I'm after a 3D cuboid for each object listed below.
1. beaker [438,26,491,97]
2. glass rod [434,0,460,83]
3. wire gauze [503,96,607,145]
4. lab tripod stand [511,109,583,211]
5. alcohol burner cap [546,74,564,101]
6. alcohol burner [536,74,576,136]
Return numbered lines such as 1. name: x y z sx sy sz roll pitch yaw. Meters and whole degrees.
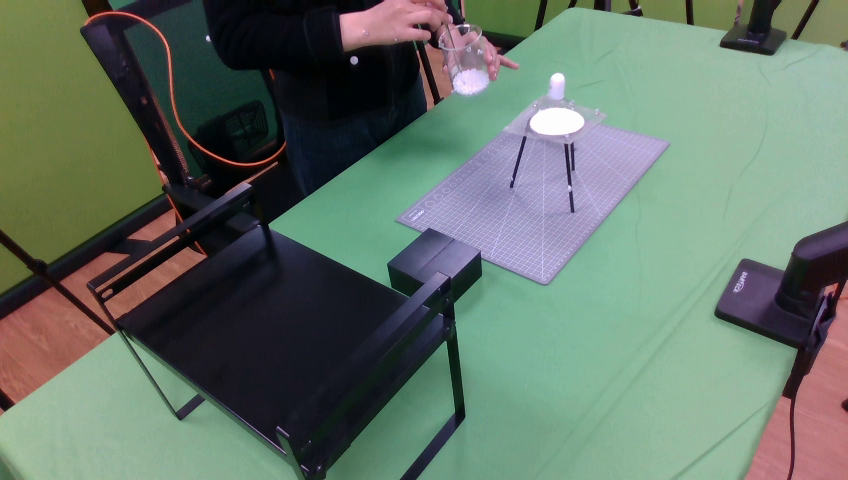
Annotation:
1. beaker: 0.074 -0.308 1.045 0.073 0.101 0.084 8 53 26
2. glass rod: 0.035 -0.351 1.014 0.008 0.201 0.008 -11 43 11
3. wire gauze: 0.211 -0.192 0.975 0.120 0.011 0.125 24 49 32
4. lab tripod stand: 0.220 -0.138 1.014 0.148 0.132 0.147 -3 41 3
5. alcohol burner cap: 0.251 -0.293 1.151 0.034 0.048 0.033 0 42 1
6. alcohol burner: 0.255 -0.265 1.173 0.078 0.119 0.077 -6 40 6
